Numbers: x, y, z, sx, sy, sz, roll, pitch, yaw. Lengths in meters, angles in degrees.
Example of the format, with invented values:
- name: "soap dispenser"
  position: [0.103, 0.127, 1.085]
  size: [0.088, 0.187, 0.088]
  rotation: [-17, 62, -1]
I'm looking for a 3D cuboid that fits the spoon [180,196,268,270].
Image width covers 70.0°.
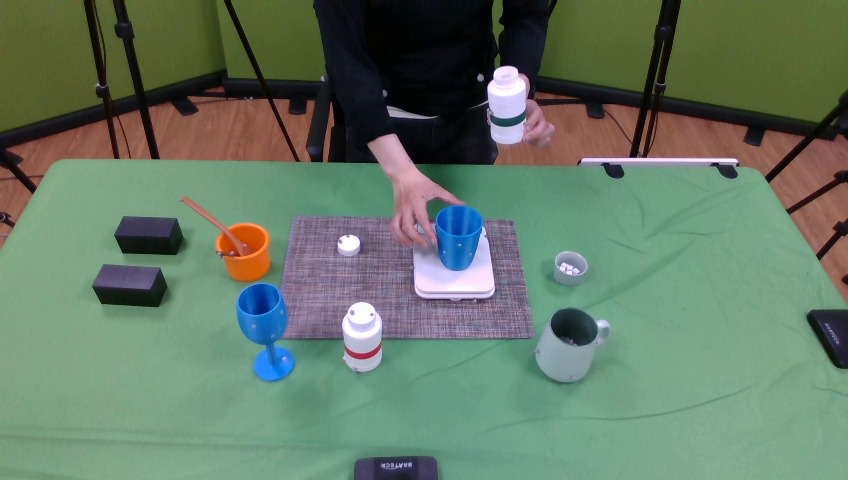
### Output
- name: "spoon"
  position: [-0.360, -0.014, 1.094]
  size: [0.021, 0.194, 0.041]
  rotation: [-28, 26, 31]

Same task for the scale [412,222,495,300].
- name: "scale"
  position: [0.052, 0.031, 1.158]
  size: [0.149, 0.032, 0.199]
  rotation: [1, 46, -4]

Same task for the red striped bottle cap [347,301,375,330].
- name: "red striped bottle cap"
  position: [-0.097, 0.116, 0.934]
  size: [0.044, 0.018, 0.044]
  rotation: [2, 49, -3]

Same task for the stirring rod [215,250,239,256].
- name: "stirring rod"
  position: [-0.339, 0.024, 1.059]
  size: [0.014, 0.176, 0.006]
  rotation: [18, 86, -6]

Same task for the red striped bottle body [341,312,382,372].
- name: "red striped bottle body"
  position: [-0.100, 0.154, 0.972]
  size: [0.063, 0.120, 0.062]
  rotation: [2, 46, -2]

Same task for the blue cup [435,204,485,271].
- name: "blue cup"
  position: [0.060, 0.001, 1.096]
  size: [0.092, 0.101, 0.092]
  rotation: [1, 43, -1]

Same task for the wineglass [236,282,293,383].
- name: "wineglass"
  position: [-0.243, 0.143, 0.934]
  size: [0.074, 0.173, 0.073]
  rotation: [2, 46, -2]

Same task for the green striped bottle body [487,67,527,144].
- name: "green striped bottle body"
  position: [0.140, -0.227, 1.013]
  size: [0.063, 0.120, 0.063]
  rotation: [-6, 43, 6]

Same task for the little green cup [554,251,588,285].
- name: "little green cup"
  position: [0.277, 0.055, 1.151]
  size: [0.061, 0.039, 0.061]
  rotation: [1, 46, -1]

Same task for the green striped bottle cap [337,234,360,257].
- name: "green striped bottle cap"
  position: [-0.147, 0.010, 1.175]
  size: [0.044, 0.020, 0.044]
  rotation: [3, 49, -3]

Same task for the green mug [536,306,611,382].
- name: "green mug"
  position: [0.250, 0.167, 0.996]
  size: [0.125, 0.105, 0.092]
  rotation: [-16, 48, -18]
